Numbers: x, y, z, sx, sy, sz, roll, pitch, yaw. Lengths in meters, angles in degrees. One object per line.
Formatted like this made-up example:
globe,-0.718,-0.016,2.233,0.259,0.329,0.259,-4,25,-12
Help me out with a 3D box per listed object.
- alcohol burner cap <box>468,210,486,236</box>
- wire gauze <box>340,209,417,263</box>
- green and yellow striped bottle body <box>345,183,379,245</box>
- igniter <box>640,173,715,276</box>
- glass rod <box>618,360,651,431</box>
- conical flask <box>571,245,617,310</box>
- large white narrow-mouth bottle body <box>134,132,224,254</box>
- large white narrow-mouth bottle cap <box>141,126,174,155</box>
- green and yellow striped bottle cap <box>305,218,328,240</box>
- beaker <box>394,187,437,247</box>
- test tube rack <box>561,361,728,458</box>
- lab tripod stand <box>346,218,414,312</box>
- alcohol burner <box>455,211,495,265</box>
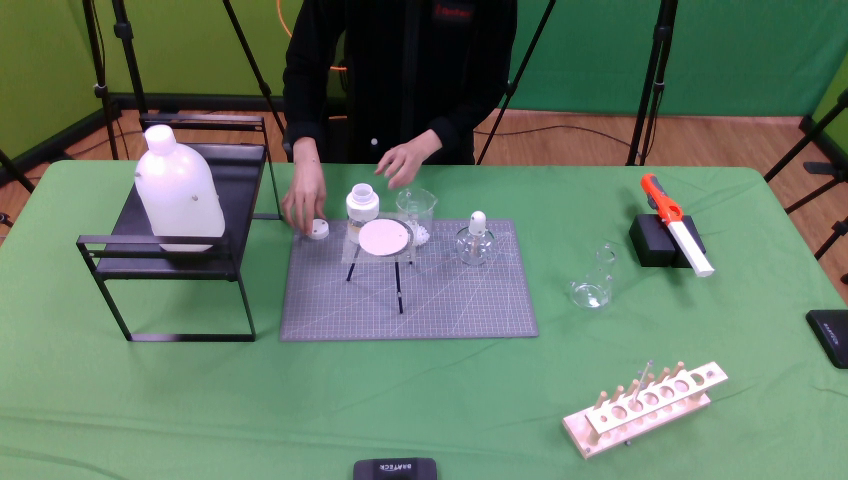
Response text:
alcohol burner cap,0.100,-0.034,1.119,0.034,0.048,0.033,0,53,0
wire gauze,-0.074,-0.007,1.023,0.121,0.011,0.124,3,46,0
green and yellow striped bottle body,-0.119,-0.053,1.167,0.063,0.120,0.063,2,46,-2
igniter,0.495,-0.039,1.204,0.057,0.025,0.274,-2,47,-12
glass rod,0.298,0.227,0.865,0.008,0.201,0.008,-2,48,2
conical flask,0.313,0.064,1.089,0.075,0.122,0.075,2,46,-2
large white narrow-mouth bottle body,-0.358,-0.075,0.875,0.102,0.195,0.101,1,48,-1
large white narrow-mouth bottle cap,-0.356,-0.133,0.810,0.038,0.024,0.037,2,48,-2
green and yellow striped bottle cap,-0.214,-0.022,1.203,0.045,0.020,0.045,4,47,-4
beaker,-0.018,-0.042,1.179,0.084,0.101,0.073,-9,48,-13
test tube rack,0.341,0.248,0.940,0.243,0.085,0.066,-15,49,-18
lab tripod stand,-0.070,0.037,1.075,0.148,0.132,0.147,1,47,-1
alcohol burner,0.097,-0.010,1.147,0.078,0.120,0.077,1,47,0
